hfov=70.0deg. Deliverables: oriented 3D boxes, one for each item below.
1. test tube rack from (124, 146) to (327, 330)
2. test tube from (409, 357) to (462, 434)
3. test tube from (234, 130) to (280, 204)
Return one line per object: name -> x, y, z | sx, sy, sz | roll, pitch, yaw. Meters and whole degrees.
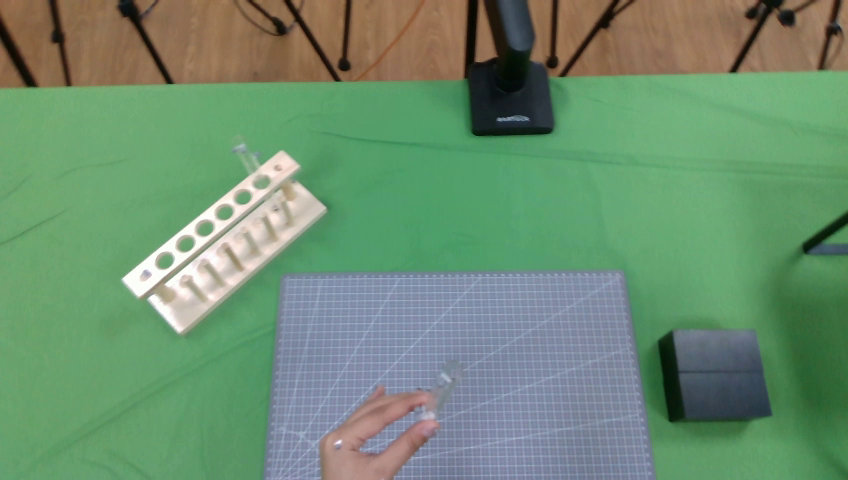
test tube rack -> -0.239, -0.003, 0.761 | 0.066, 0.086, 0.242 | 42, 73, 16
test tube -> 0.007, 0.133, 0.502 | 0.017, 0.151, 0.017 | 6, 55, -9
test tube -> -0.201, -0.085, 0.742 | 0.017, 0.151, 0.017 | -1, 64, 2
